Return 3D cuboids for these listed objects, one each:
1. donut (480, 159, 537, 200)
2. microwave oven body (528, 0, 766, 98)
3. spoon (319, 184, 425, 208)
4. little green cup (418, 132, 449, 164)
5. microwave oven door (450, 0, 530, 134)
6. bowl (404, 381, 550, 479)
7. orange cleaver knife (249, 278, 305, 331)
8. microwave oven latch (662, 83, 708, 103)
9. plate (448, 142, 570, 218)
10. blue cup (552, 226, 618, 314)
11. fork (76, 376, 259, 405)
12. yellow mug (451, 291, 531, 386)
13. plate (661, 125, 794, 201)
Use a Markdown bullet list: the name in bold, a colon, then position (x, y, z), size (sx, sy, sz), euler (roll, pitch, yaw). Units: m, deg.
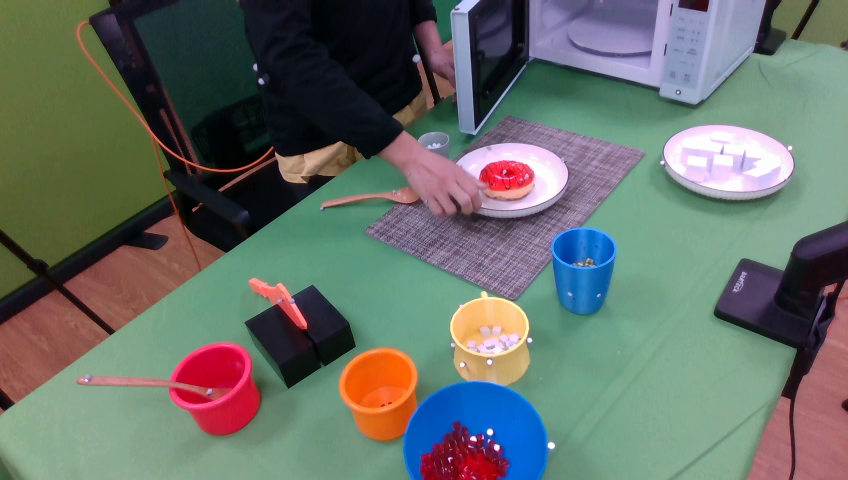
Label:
- **donut**: position (0.145, -0.106, 1.042), size (0.099, 0.048, 0.098), euler (-5, 38, 4)
- **microwave oven body**: position (0.472, -0.513, 1.317), size (0.438, 0.261, 0.327), euler (26, 51, 34)
- **spoon**: position (-0.094, -0.075, 1.074), size (0.193, 0.022, 0.041), euler (-4, 56, 5)
- **little green cup**: position (0.019, -0.178, 1.168), size (0.061, 0.039, 0.061), euler (-3, 41, 3)
- **microwave oven door**: position (0.146, -0.412, 1.240), size (0.039, 0.245, 0.356), euler (13, 44, 23)
- **bowl**: position (0.058, 0.235, 0.645), size (0.151, 0.077, 0.150), euler (-4, 39, 4)
- **orange cleaver knife**: position (-0.210, 0.088, 0.856), size (0.012, 0.077, 0.210), euler (-28, 15, -25)
- **microwave oven latch**: position (0.517, -0.296, 1.204), size (0.078, 0.029, 0.030), euler (27, 52, 35)
- **plate**: position (0.147, -0.101, 1.053), size (0.209, 0.038, 0.208), euler (-4, 40, 4)
- **blue cup**: position (0.218, 0.047, 0.826), size (0.092, 0.100, 0.092), euler (-6, 40, 5)
- **fork**: position (-0.295, 0.176, 0.716), size (0.209, 0.018, 0.028), euler (19, 26, -36)
- **yellow mug**: position (0.085, 0.120, 0.786), size (0.100, 0.064, 0.130), euler (-7, 39, 1)
- **plate**: position (0.513, -0.128, 1.035), size (0.207, 0.039, 0.206), euler (-4, 40, 4)
